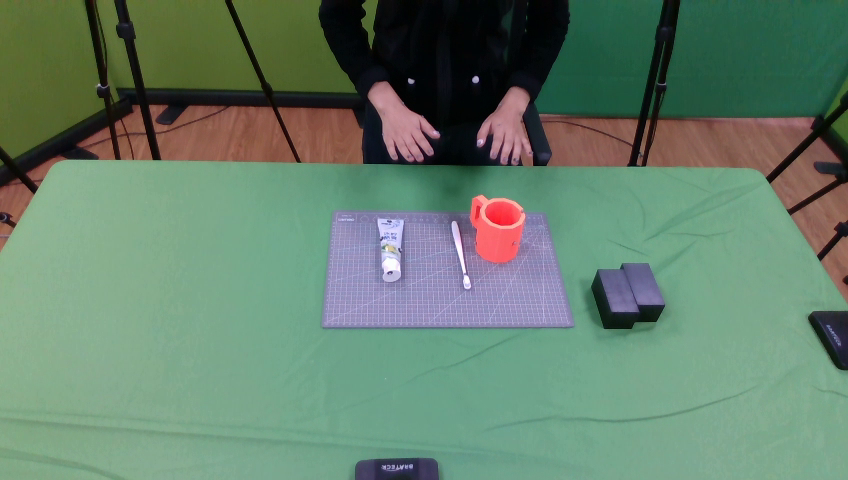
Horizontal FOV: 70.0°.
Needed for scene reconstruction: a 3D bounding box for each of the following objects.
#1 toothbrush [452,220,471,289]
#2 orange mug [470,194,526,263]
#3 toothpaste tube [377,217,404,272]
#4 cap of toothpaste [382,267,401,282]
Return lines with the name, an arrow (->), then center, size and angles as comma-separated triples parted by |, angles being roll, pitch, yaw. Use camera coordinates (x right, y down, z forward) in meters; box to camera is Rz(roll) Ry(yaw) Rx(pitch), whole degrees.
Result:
toothbrush -> 0.071, 0.024, 1.180 | 0.014, 0.017, 0.180 | -13, 45, 5
orange mug -> 0.136, -0.030, 1.180 | 0.083, 0.101, 0.125 | -26, 58, -26
toothpaste tube -> -0.063, 0.008, 1.179 | 0.055, 0.034, 0.164 | 5, 42, -9
cap of toothpaste -> -0.060, 0.063, 1.119 | 0.037, 0.037, 0.011 | -9, 50, -12
